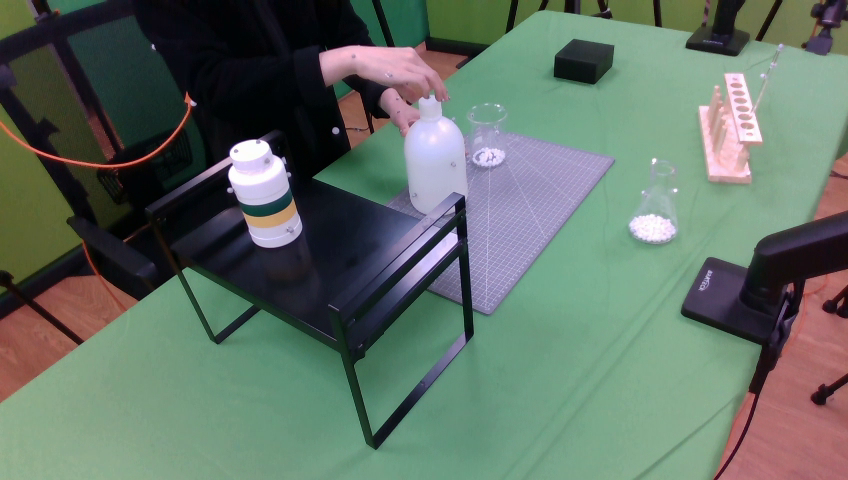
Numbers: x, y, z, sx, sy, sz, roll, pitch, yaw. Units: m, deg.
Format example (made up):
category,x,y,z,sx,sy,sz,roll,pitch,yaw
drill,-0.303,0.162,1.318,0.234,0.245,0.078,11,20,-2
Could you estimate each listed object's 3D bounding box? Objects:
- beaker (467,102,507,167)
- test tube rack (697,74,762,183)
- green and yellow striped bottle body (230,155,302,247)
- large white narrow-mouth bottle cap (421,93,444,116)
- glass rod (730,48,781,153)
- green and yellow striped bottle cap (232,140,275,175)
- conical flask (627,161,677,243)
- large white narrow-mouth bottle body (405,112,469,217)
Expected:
category,x,y,z,sx,sy,sz,roll,pitch,yaw
beaker,0.121,-0.195,1.124,0.084,0.100,0.073,-34,48,-28
test tube rack,0.547,-0.208,1.095,0.066,0.085,0.242,5,42,15
green and yellow striped bottle body,-0.188,-0.055,0.714,0.063,0.120,0.063,-4,40,4
large white narrow-mouth bottle cap,0.013,-0.212,0.949,0.038,0.024,0.037,-3,38,3
glass rod,0.554,-0.228,1.015,0.008,0.200,0.008,1,44,-1
green and yellow striped bottle cap,-0.192,-0.093,0.680,0.045,0.020,0.045,-5,39,5
conical flask,0.355,-0.061,0.921,0.075,0.122,0.075,-4,41,4
large white narrow-mouth bottle body,0.020,-0.141,1.004,0.102,0.195,0.101,-4,38,3
